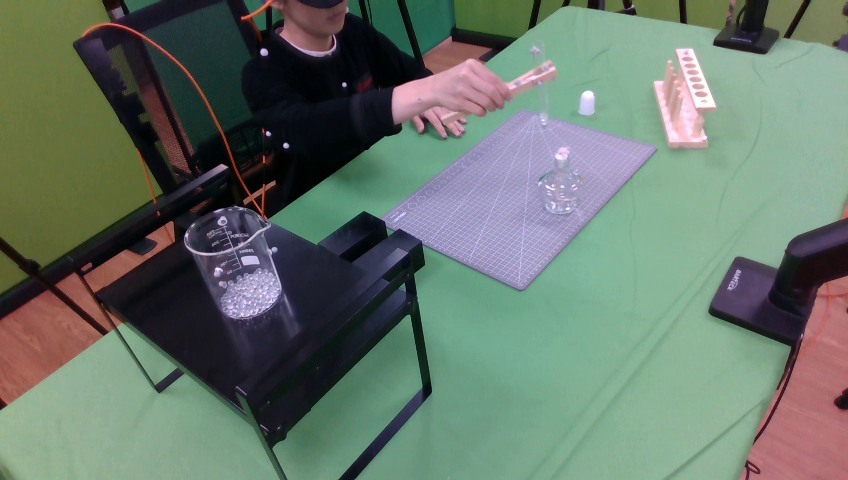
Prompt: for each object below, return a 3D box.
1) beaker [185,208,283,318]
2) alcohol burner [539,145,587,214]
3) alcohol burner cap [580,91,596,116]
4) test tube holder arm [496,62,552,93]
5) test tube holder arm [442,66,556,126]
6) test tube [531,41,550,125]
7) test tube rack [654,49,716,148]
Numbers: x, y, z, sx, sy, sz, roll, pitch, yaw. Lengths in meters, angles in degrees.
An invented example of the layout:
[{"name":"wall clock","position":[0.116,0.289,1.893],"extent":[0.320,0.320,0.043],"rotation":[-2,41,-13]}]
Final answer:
[{"name":"beaker","position":[-0.192,0.026,0.637],"extent":[0.084,0.101,0.073],"rotation":[-13,41,-7]},{"name":"alcohol burner","position":[0.226,-0.102,0.985],"extent":[0.078,0.119,0.077],"rotation":[-6,41,6]},{"name":"alcohol burner cap","position":[0.338,-0.283,1.238],"extent":[0.034,0.048,0.033],"rotation":[-5,42,5]},{"name":"test tube holder arm","position":[0.148,-0.235,0.891],"extent":[0.088,0.015,0.010],"rotation":[-29,44,5]},{"name":"test tube holder arm","position":[0.109,-0.212,0.893],"extent":[0.178,0.015,0.013],"rotation":[-24,45,10]},{"name":"test tube","position":[0.175,-0.229,0.900],"extent":[0.017,0.151,0.017],"rotation":[-8,52,11]},{"name":"test tube rack","position":[0.502,-0.281,1.176],"extent":[0.066,0.085,0.241],"rotation":[1,41,11]}]
